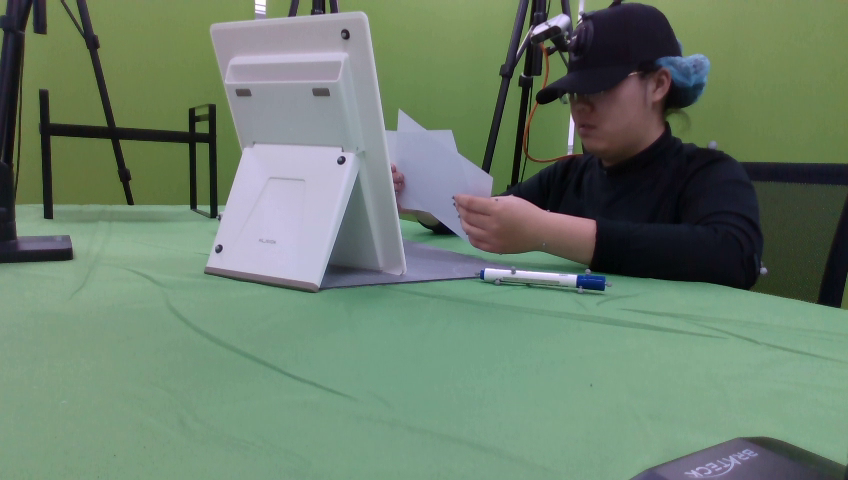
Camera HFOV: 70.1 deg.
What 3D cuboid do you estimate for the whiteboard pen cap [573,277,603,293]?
[{"bbox_3d":[0.186,0.051,0.687,0.033,0.018,0.018,4,7,18],"label":"whiteboard pen cap"}]

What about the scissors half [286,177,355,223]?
[{"bbox_3d":[-0.229,-0.091,1.337,0.175,0.013,0.040,33,13,-13],"label":"scissors half"}]

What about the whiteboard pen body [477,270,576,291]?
[{"bbox_3d":[0.131,0.048,0.706,0.140,0.017,0.017,4,7,18],"label":"whiteboard pen body"}]

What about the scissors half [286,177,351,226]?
[{"bbox_3d":[-0.232,-0.085,1.317,0.175,0.013,0.040,37,18,5],"label":"scissors half"}]

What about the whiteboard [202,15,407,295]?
[{"bbox_3d":[-0.167,-0.073,0.668,0.216,0.305,0.144,7,30,28],"label":"whiteboard"}]

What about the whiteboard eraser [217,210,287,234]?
[{"bbox_3d":[-0.310,-0.034,1.094,0.113,0.042,0.055,-2,11,-38],"label":"whiteboard eraser"}]
